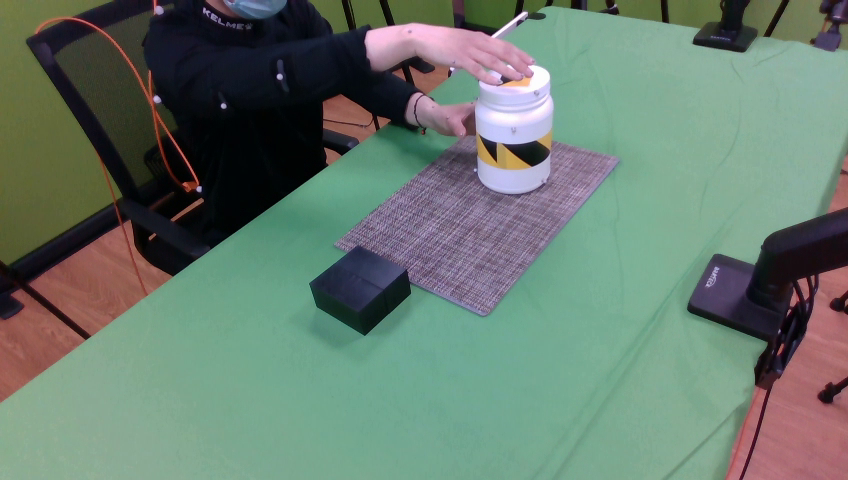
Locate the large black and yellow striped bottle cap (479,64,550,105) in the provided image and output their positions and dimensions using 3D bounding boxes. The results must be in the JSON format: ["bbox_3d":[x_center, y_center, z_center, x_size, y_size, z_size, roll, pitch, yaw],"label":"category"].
[{"bbox_3d":[0.146,-0.254,0.978,0.115,0.019,0.114,-5,40,5],"label":"large black and yellow striped bottle cap"}]

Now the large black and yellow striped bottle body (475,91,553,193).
[{"bbox_3d":[0.153,-0.187,1.034,0.131,0.185,0.130,-4,41,4],"label":"large black and yellow striped bottle body"}]
